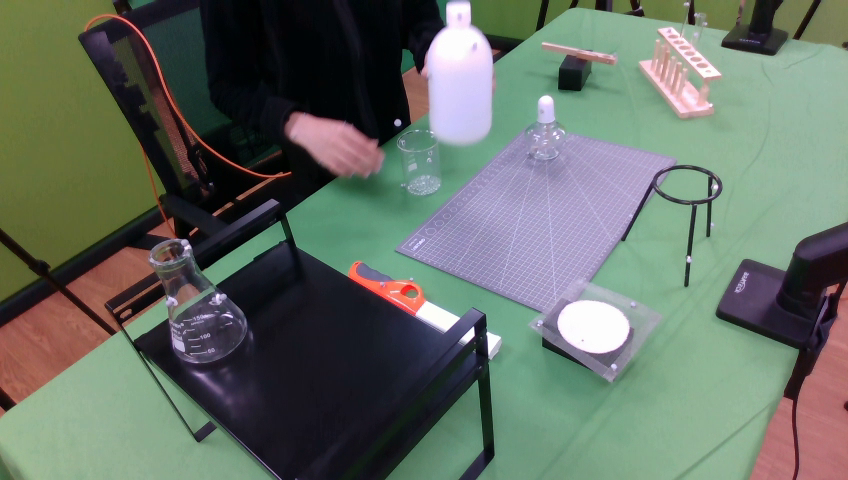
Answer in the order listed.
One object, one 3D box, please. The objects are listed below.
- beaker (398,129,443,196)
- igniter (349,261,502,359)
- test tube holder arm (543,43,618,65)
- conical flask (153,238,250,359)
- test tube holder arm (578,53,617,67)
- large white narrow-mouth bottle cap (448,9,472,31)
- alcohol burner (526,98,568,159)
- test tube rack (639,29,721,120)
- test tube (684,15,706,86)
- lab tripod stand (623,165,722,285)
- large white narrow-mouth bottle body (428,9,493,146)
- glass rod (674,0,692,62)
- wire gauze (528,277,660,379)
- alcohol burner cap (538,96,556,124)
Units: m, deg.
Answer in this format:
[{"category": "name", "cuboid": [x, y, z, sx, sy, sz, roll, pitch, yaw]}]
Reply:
[{"category": "beaker", "cuboid": [-0.002, -0.139, 1.087, 0.073, 0.101, 0.084, 28, 52, 35]}, {"category": "igniter", "cuboid": [-0.009, 0.094, 0.870, 0.274, 0.025, 0.057, 25, 60, 33]}, {"category": "test tube holder arm", "cuboid": [0.344, -0.413, 1.340, 0.177, 0.015, 0.013, 25, 51, 31]}, {"category": "conical flask", "cuboid": [-0.225, 0.055, 0.597, 0.075, 0.122, 0.075, -5, 41, 5]}, {"category": "test tube holder arm", "cuboid": [0.376, -0.393, 1.314, 0.087, 0.015, 0.010, 26, 51, 32]}, {"category": "large white narrow-mouth bottle cap", "cuboid": [0.053, -0.320, 0.878, 0.038, 0.024, 0.037, -1, 36, 1]}, {"category": "alcohol burner", "cuboid": [0.228, -0.210, 1.118, 0.078, 0.119, 0.077, -5, 43, 5]}, {"category": "test tube rack", "cuboid": [0.527, -0.351, 1.262, 0.067, 0.085, 0.241, -8, 40, 1]}, {"category": "test tube", "cuboid": [0.541, -0.378, 1.216, 0.017, 0.151, 0.017, -2, 44, 3]}, {"category": "lab tripod stand", "cuboid": [0.365, -0.030, 0.874, 0.148, 0.132, 0.147, -6, 41, 6]}, {"category": "large white narrow-mouth bottle body", "cuboid": [0.056, -0.251, 0.929, 0.102, 0.195, 0.101, -1, 36, 2]}, {"category": "glass rod", "cuboid": [0.537, -0.437, 1.257, 0.008, 0.200, 0.008, 0, 39, 1]}, {"category": "wire gauze", "cuboid": [0.213, 0.103, 0.763, 0.124, 0.011, 0.122, 30, 52, 35]}, {"category": "alcohol burner cap", "cuboid": [0.222, -0.237, 1.095, 0.034, 0.048, 0.033, -7, 35, 5]}]
